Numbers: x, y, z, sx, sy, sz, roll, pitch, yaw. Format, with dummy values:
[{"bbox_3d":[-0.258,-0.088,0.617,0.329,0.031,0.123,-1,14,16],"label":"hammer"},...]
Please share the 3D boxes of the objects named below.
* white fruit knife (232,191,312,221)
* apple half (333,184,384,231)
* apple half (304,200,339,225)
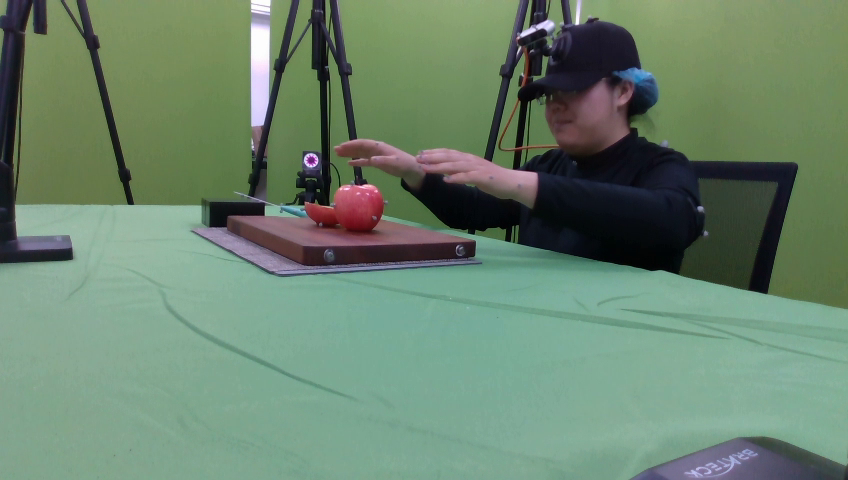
[{"bbox_3d":[-0.286,-0.065,1.221,0.208,0.016,0.027,18,-2,-31],"label":"white fruit knife"},{"bbox_3d":[-0.097,-0.050,0.949,0.081,0.074,0.053,1,11,-38],"label":"apple half"},{"bbox_3d":[-0.163,-0.040,1.000,0.081,0.033,0.081,15,-2,1],"label":"apple half"}]
